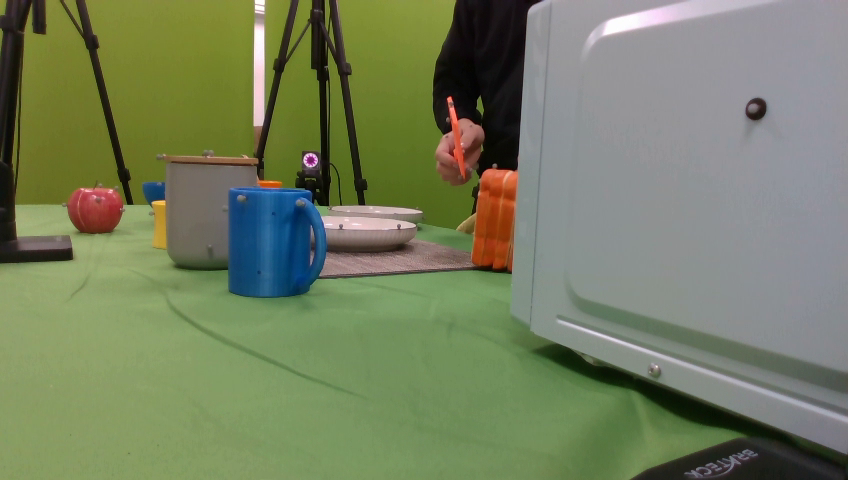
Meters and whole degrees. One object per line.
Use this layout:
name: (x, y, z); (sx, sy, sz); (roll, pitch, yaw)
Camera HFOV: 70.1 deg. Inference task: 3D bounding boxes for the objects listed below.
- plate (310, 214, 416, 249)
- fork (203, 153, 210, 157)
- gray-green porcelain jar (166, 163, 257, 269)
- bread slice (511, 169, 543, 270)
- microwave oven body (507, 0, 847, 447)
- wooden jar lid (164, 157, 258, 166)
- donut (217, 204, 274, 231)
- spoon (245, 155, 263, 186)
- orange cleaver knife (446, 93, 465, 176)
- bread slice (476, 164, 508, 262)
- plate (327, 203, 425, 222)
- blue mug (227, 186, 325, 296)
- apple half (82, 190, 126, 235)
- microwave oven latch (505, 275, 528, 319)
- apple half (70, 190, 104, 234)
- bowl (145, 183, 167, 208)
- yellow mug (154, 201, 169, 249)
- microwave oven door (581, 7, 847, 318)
plate: (-0.116, -0.014, 0.967); (0.208, 0.039, 0.207); (2, 7, 0)
fork: (-0.480, -0.136, 1.412); (0.028, 0.018, 0.207); (0, -34, -1)
gray-green porcelain jar: (-0.263, -0.031, 0.754); (0.106, 0.126, 0.106); (2, 7, 0)
bread slice: (0.141, -0.029, 0.822); (0.018, 0.134, 0.107); (7, 10, 18)
microwave oven body: (0.331, -0.042, 0.425); (0.444, 0.260, 0.324); (-2, 8, -31)
wooden jar lid: (-0.261, -0.093, 0.746); (0.108, 0.020, 0.108); (1, 9, 0)
donut: (-0.318, -0.038, 1.080); (0.099, 0.048, 0.099); (2, 7, 0)
spoon: (-0.421, -0.150, 1.540); (0.042, 0.021, 0.193); (-5, 55, -37)
orange cleaver knife: (0.050, -0.135, 0.893); (0.012, 0.077, 0.212); (-14, -24, 2)
bread slice: (0.095, -0.039, 0.840); (0.019, 0.131, 0.105); (5, 4, 19)
plate: (-0.102, -0.053, 1.299); (0.209, 0.038, 0.209); (2, 8, 0)
blue mug: (-0.146, 0.000, 0.618); (0.116, 0.106, 0.083); (7, 9, 32)
apple half: (-0.516, -0.046, 0.994); (0.032, 0.081, 0.081); (0, 6, 26)
microwave oven latch: (0.100, 0.042, 0.471); (0.079, 0.029, 0.030); (-1, 7, -28)
apple half: (-0.552, -0.047, 1.009); (0.053, 0.074, 0.081); (-1, 9, 26)
bowl: (-0.459, -0.068, 1.175); (0.151, 0.077, 0.151); (3, 7, 0)
yellow mug: (-0.337, -0.022, 0.899); (0.130, 0.064, 0.100); (8, 9, 34)
microwave oven door: (0.295, -0.067, 0.569); (0.358, 0.243, 0.039); (-3, 8, -31)
